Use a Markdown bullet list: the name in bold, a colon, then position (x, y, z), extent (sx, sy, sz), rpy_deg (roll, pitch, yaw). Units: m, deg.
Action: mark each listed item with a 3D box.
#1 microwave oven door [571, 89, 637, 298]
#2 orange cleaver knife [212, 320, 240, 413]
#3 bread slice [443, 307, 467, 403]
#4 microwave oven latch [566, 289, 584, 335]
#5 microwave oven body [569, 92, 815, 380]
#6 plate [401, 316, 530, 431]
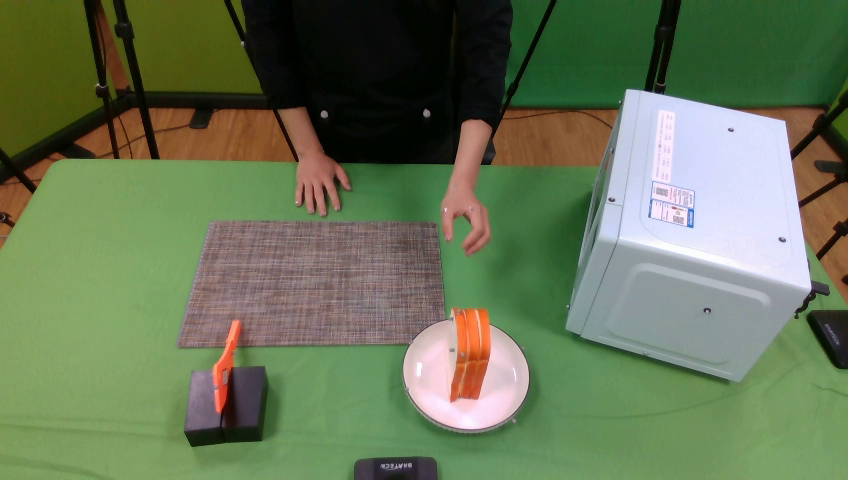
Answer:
- **microwave oven door**: position (0.343, -0.091, 1.133), extent (0.039, 0.245, 0.354), rpy_deg (15, 47, 10)
- **orange cleaver knife**: position (-0.306, 0.190, 0.944), extent (0.012, 0.077, 0.210), rpy_deg (-4, 17, -7)
- **bread slice**: position (0.048, 0.171, 0.948), extent (0.018, 0.135, 0.106), rpy_deg (0, 42, -7)
- **microwave oven latch**: position (0.267, 0.126, 1.059), extent (0.030, 0.029, 0.079), rpy_deg (15, 46, 11)
- **microwave oven body**: position (0.468, -0.021, 1.082), extent (0.325, 0.261, 0.440), rpy_deg (15, 46, 11)
- **plate**: position (0.066, 0.217, 0.982), extent (0.208, 0.039, 0.206), rpy_deg (2, 46, -2)
